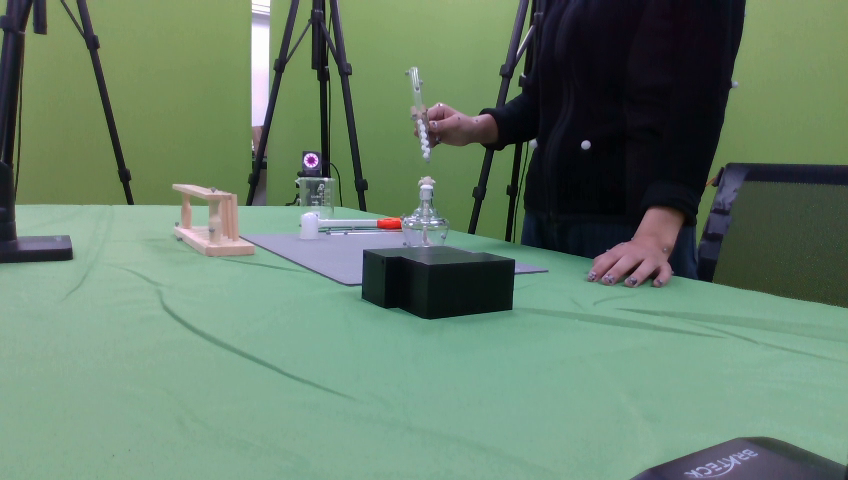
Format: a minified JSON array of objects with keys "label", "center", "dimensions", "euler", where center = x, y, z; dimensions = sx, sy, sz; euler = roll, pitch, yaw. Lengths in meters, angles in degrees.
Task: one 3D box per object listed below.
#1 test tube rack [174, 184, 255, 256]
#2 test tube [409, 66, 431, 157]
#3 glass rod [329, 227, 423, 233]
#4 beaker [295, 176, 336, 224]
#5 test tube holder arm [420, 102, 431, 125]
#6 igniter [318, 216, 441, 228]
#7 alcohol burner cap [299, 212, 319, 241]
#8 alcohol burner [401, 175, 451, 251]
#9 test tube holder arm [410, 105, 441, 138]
[{"label":"test tube rack","center":[-0.327,-0.036,0.928],"dimensions":[0.067,0.085,0.241],"euler":[-2,9,-32]},{"label":"test tube","center":[-0.006,-0.202,0.948],"dimensions":[0.017,0.150,0.017],"euler":[-8,-10,-1]},{"label":"glass rod","center":[-0.087,-0.019,1.148],"dimensions":[0.201,0.008,0.008],"euler":[-3,8,-32]},{"label":"beaker","center":[-0.224,-0.080,1.247],"dimensions":[0.084,0.100,0.073],"euler":[-1,8,-18]},{"label":"test tube holder arm","center":[0.002,-0.201,0.970],"dimensions":[0.010,0.015,0.088],"euler":[-9,-5,4]},{"label":"igniter","center":[-0.090,-0.036,1.222],"dimensions":[0.278,0.025,0.057],"euler":[-2,-2,-32]},{"label":"alcohol burner cap","center":[-0.195,-0.024,1.025],"dimensions":[0.034,0.048,0.034],"euler":[3,7,0]},{"label":"alcohol burner","center":[0.003,-0.042,0.947],"dimensions":[0.078,0.119,0.078],"euler":[1,9,0]},{"label":"test tube holder arm","center":[0.005,-0.197,1.015],"dimensions":[0.013,0.015,0.179],"euler":[-9,-5,12]}]
